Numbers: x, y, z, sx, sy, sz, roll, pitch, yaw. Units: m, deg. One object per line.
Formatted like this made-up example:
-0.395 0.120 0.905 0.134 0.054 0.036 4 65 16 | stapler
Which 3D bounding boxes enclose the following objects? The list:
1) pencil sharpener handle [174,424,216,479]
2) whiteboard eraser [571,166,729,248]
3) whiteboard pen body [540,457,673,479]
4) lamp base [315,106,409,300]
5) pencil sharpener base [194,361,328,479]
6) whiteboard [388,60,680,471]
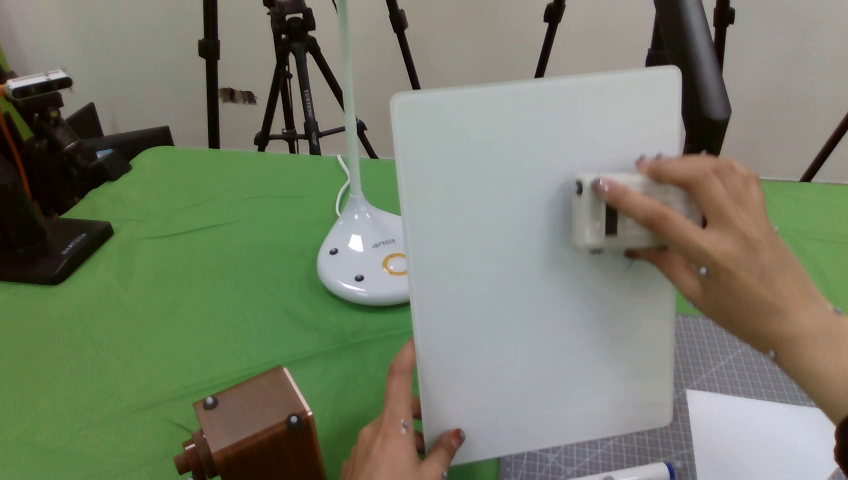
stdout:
-0.164 0.165 0.423 0.031 0.068 0.035 -21 28 -24 | pencil sharpener handle
0.164 -0.025 0.447 0.113 0.056 0.041 -3 13 -8 | whiteboard eraser
0.125 0.187 0.468 0.141 0.017 0.017 -7 35 -7 | whiteboard pen body
-0.058 -0.050 0.684 0.161 0.182 0.177 -25 39 -29 | lamp base
-0.122 0.157 0.454 0.077 0.108 0.060 -21 40 -24 | pencil sharpener base
0.086 0.011 0.532 0.217 0.307 0.143 -8 16 -7 | whiteboard
